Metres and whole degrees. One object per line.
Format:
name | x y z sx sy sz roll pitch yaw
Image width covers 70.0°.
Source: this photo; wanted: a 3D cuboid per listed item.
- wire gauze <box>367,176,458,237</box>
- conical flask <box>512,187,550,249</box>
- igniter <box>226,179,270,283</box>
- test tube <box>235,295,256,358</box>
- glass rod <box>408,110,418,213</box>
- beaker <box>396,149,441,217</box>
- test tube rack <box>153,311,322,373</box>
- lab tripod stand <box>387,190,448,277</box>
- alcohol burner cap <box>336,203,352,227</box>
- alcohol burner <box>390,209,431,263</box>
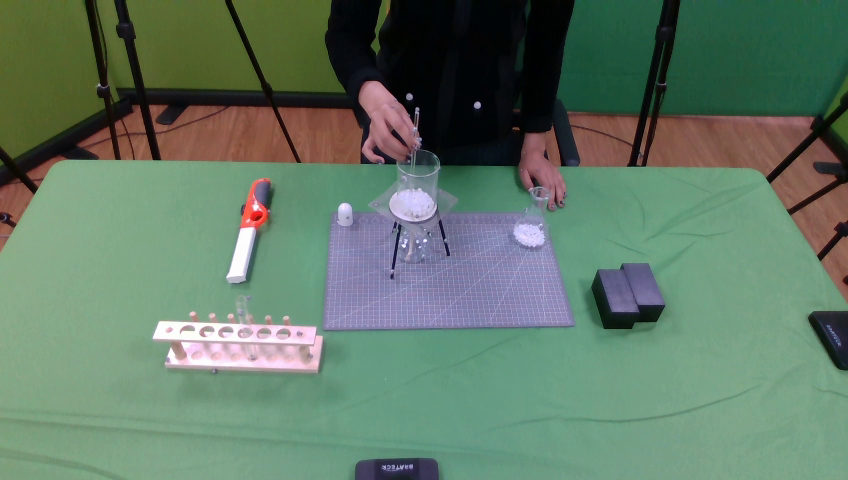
wire gauze | -0.020 -0.066 1.089 0.124 0.011 0.121 27 47 22
conical flask | 0.217 -0.047 1.190 0.075 0.122 0.075 2 46 -2
igniter | -0.345 -0.027 1.195 0.057 0.025 0.274 -6 46 5
test tube | -0.274 0.136 0.933 0.017 0.151 0.017 4 46 -4
glass rod | -0.018 -0.122 0.992 0.008 0.200 0.008 3 41 -2
beaker | -0.015 -0.098 1.053 0.074 0.101 0.083 -31 55 -30
test tube rack | -0.293 0.160 0.978 0.242 0.085 0.066 3 46 -2
lab tripod stand | -0.021 -0.018 1.135 0.148 0.132 0.147 3 44 -3
alcohol burner cap | -0.162 -0.053 1.221 0.034 0.048 0.033 2 47 -2
alcohol burner | -0.024 -0.014 1.144 0.078 0.119 0.077 4 45 -3
